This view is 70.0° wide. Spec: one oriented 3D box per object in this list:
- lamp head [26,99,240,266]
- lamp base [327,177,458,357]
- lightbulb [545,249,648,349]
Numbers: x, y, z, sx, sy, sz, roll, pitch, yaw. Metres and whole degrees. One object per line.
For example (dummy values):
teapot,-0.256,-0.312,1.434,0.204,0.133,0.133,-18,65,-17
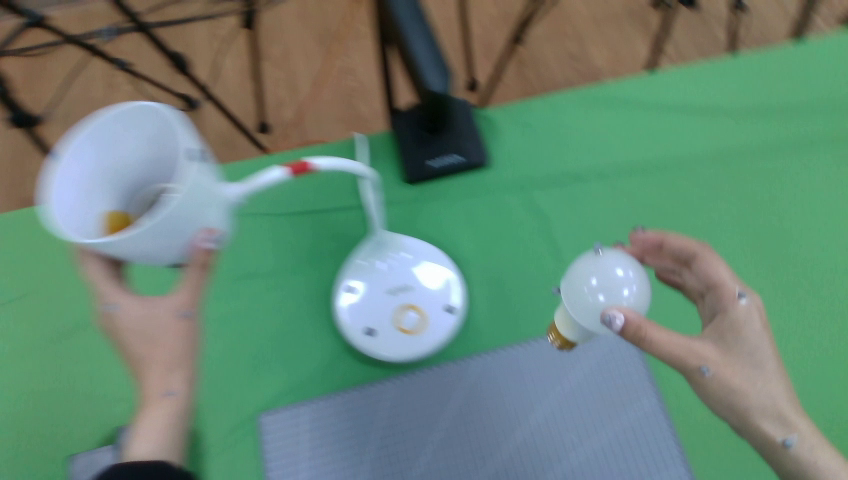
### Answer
lamp head,-0.208,-0.032,0.465,0.112,0.124,0.111,-5,70,15
lamp base,-0.046,0.022,0.675,0.161,0.181,0.177,-27,65,-11
lightbulb,0.120,0.050,0.448,0.060,0.108,0.059,10,52,-13
